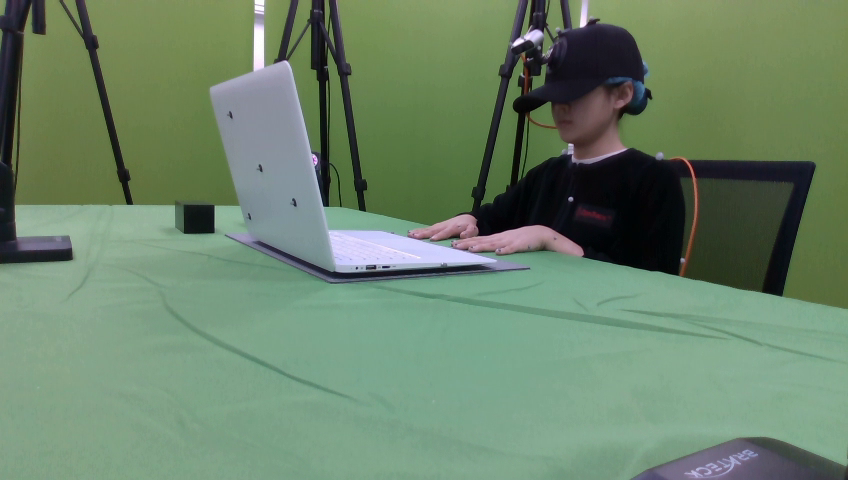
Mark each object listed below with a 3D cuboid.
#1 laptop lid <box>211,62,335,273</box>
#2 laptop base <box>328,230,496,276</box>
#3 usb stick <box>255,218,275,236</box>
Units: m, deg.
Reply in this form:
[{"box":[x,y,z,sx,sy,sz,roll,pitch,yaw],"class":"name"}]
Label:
[{"box":[-0.211,-0.095,0.791,0.013,0.241,0.355,-18,18,-29],"class":"laptop lid"},{"box":[-0.091,0.016,0.884,0.237,0.023,0.352,2,6,-32],"class":"laptop base"},{"box":[-0.262,-0.021,1.003,0.021,0.027,0.059,0,10,-32],"class":"usb stick"}]
